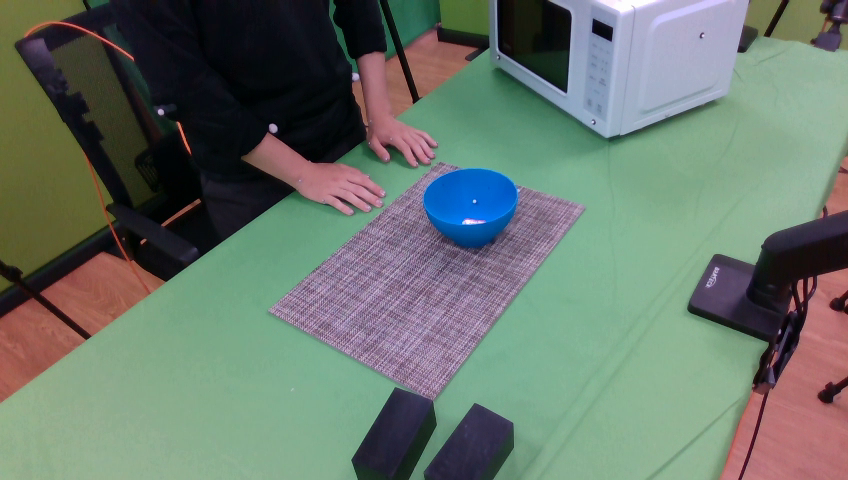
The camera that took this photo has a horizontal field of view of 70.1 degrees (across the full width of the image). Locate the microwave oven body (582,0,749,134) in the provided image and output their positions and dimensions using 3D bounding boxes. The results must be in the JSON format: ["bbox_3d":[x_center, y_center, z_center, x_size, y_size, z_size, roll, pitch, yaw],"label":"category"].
[{"bbox_3d":[0.382,-0.444,1.246,0.327,0.261,0.437,-22,42,-16],"label":"microwave oven body"}]

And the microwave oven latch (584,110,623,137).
[{"bbox_3d":[0.337,-0.222,1.142,0.030,0.029,0.078,-21,42,-14],"label":"microwave oven latch"}]

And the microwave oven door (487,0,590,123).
[{"bbox_3d":[0.232,-0.420,1.231,0.039,0.245,0.352,-22,43,-16],"label":"microwave oven door"}]

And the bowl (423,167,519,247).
[{"bbox_3d":[0.075,-0.041,0.959,0.151,0.077,0.150,-4,40,4],"label":"bowl"}]
